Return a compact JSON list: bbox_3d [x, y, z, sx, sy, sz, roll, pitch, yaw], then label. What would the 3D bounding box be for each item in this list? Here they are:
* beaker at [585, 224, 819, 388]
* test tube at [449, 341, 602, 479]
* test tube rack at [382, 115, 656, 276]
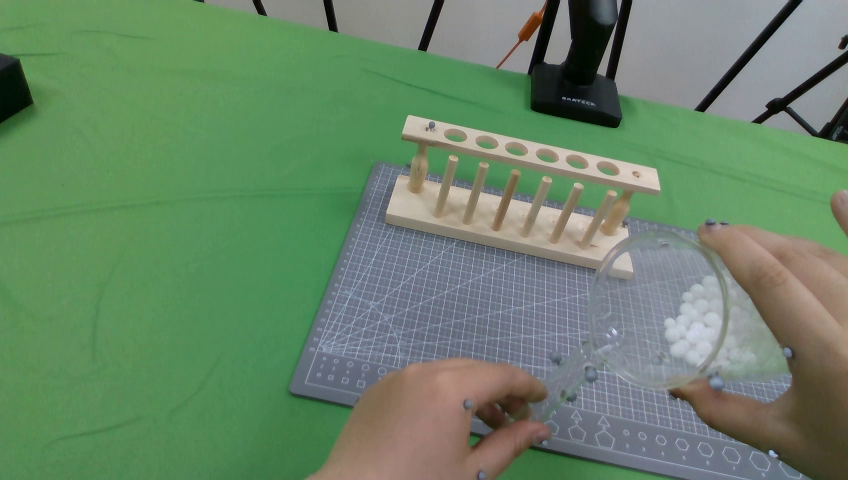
[{"bbox_3d":[0.143,0.039,0.311,0.101,0.084,0.073,8,51,-34],"label":"beaker"},{"bbox_3d":[0.053,0.108,0.354,0.017,0.151,0.017,20,39,-17],"label":"test tube"},{"bbox_3d":[0.088,-0.042,0.582,0.242,0.086,0.066,12,43,0],"label":"test tube rack"}]
